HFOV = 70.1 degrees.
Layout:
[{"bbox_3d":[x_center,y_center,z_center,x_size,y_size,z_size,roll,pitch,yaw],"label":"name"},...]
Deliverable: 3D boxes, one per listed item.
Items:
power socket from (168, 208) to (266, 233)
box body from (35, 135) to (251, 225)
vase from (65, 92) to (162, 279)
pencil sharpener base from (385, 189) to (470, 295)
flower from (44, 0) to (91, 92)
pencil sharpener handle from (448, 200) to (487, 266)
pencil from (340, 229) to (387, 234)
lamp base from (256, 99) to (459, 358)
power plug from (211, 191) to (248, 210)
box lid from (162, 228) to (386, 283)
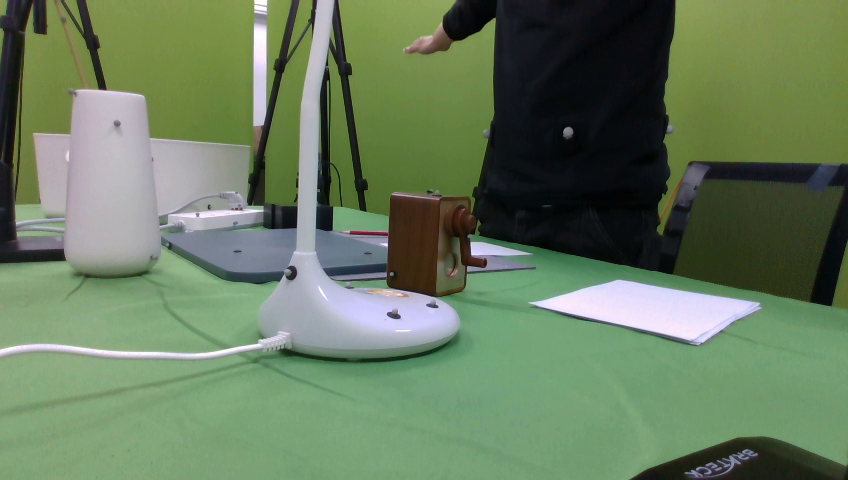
[{"bbox_3d":[-0.380,-0.038,1.129,0.072,0.032,0.227,4,8,18],"label":"power socket"},{"bbox_3d":[-0.559,-0.127,1.257,0.253,0.160,0.365,4,8,15],"label":"box body"},{"bbox_3d":[-0.347,-0.060,0.673,0.098,0.200,0.098,1,7,0],"label":"vase"},{"bbox_3d":[0.006,0.001,0.652,0.076,0.107,0.061,8,9,37],"label":"pencil sharpener base"},{"bbox_3d":[-0.361,-0.142,0.663,0.044,0.361,0.038,-12,11,32],"label":"flower"},{"bbox_3d":[0.049,-0.006,0.623,0.030,0.068,0.036,8,21,37],"label":"pencil sharpener handle"},{"bbox_3d":[-0.057,-0.013,1.095,0.195,0.012,0.012,1,7,-19],"label":"pencil"},{"bbox_3d":[-0.055,-0.013,0.463,0.160,0.180,0.180,6,11,27],"label":"lamp base"},{"bbox_3d":[-0.384,-0.071,1.205,0.072,0.052,0.035,1,9,29],"label":"power plug"},{"bbox_3d":[-0.200,0.014,0.861,0.265,0.015,0.369,-4,10,-35],"label":"box lid"}]
